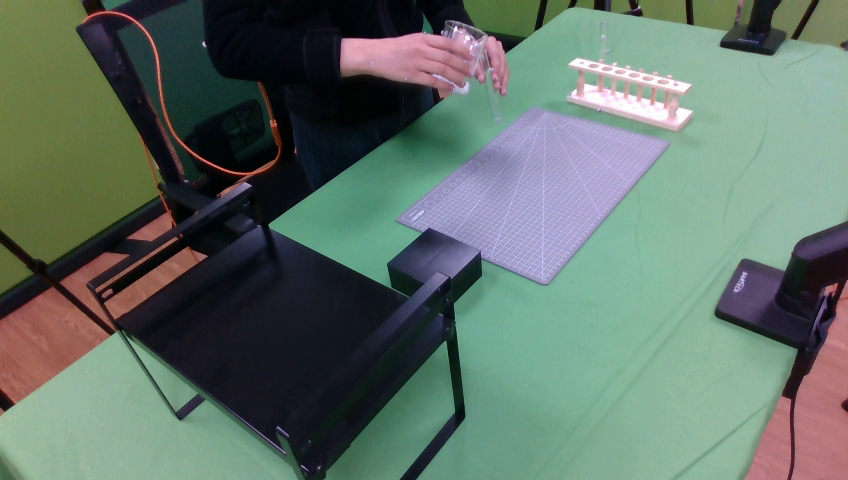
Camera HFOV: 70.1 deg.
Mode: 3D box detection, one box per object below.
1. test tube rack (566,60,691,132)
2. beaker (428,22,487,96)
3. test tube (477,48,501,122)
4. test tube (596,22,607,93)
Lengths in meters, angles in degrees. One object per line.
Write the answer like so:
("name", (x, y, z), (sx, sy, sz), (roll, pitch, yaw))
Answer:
("test tube rack", (0.411, -0.300, 1.217), (0.240, 0.085, 0.067), (26, 51, 33))
("beaker", (0.054, -0.290, 0.980), (0.073, 0.100, 0.084), (25, 12, 30))
("test tube", (0.117, -0.272, 1.074), (0.017, 0.151, 0.017), (-11, 46, 12))
("test tube", (0.363, -0.372, 1.240), (0.017, 0.151, 0.017), (-6, 40, 5))
